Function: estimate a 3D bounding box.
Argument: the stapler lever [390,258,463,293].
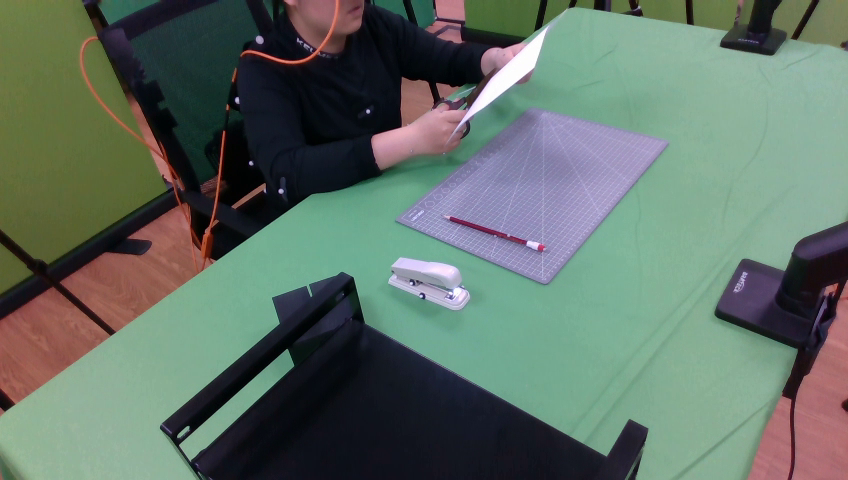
[{"bbox_3d":[0.003,0.046,0.881,0.117,0.040,0.027,17,44,29],"label":"stapler lever"}]

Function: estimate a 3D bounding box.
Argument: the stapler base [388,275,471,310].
[{"bbox_3d":[0.007,0.066,0.897,0.129,0.024,0.041,17,44,29],"label":"stapler base"}]

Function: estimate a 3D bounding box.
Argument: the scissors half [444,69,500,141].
[{"bbox_3d":[0.090,-0.245,1.110,0.040,0.175,0.013,36,41,-1],"label":"scissors half"}]

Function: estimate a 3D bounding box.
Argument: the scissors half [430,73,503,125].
[{"bbox_3d":[0.075,-0.261,1.107,0.174,0.040,0.013,-23,15,37],"label":"scissors half"}]

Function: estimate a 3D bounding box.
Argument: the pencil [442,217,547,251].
[{"bbox_3d":[0.110,-0.012,0.979,0.192,0.012,0.012,18,46,30],"label":"pencil"}]
